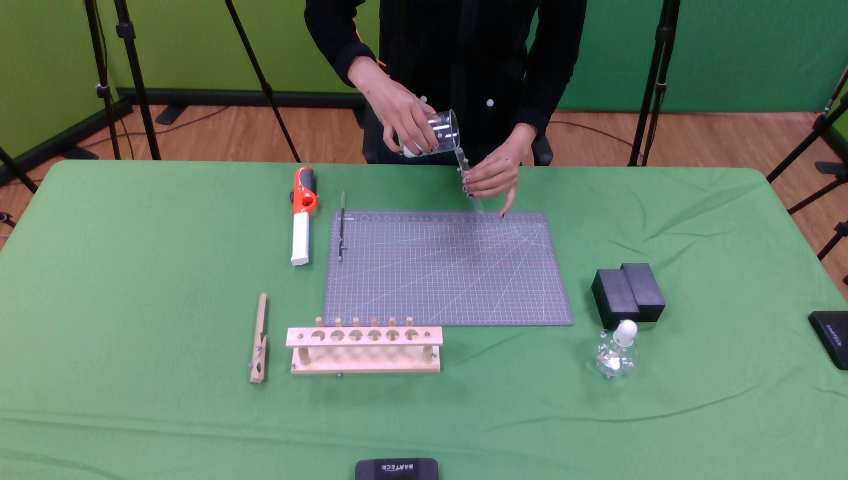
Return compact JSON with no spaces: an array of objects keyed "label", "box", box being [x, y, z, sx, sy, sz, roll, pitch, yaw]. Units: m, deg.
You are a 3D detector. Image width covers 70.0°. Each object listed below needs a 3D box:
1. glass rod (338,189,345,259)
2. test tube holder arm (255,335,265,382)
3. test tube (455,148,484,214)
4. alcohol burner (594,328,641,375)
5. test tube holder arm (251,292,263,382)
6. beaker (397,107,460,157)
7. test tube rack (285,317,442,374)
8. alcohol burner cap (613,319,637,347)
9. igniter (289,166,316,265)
[{"label":"glass rod","box":[-0.166,-0.037,1.226,0.008,0.008,0.198,-1,47,-4]},{"label":"test tube holder arm","box":[-0.270,0.193,0.997,0.010,0.015,0.087,24,36,-32]},{"label":"test tube","box":[0.087,-0.108,1.138,0.017,0.151,0.017,-15,36,12]},{"label":"alcohol burner","box":[0.322,0.170,0.994,0.078,0.119,0.077,3,48,-3]},{"label":"test tube holder arm","box":[-0.282,0.159,1.025,0.013,0.015,0.177,23,36,-33]},{"label":"beaker","box":[0.008,-0.188,1.083,0.100,0.084,0.073,-7,37,14]},{"label":"test tube rack","box":[-0.095,0.166,0.988,0.242,0.085,0.066,0,46,-4]},{"label":"alcohol burner cap","box":[0.323,0.146,0.967,0.034,0.048,0.033,-2,52,3]},{"label":"igniter","box":[-0.248,-0.058,1.233,0.057,0.025,0.274,-9,47,1]}]
